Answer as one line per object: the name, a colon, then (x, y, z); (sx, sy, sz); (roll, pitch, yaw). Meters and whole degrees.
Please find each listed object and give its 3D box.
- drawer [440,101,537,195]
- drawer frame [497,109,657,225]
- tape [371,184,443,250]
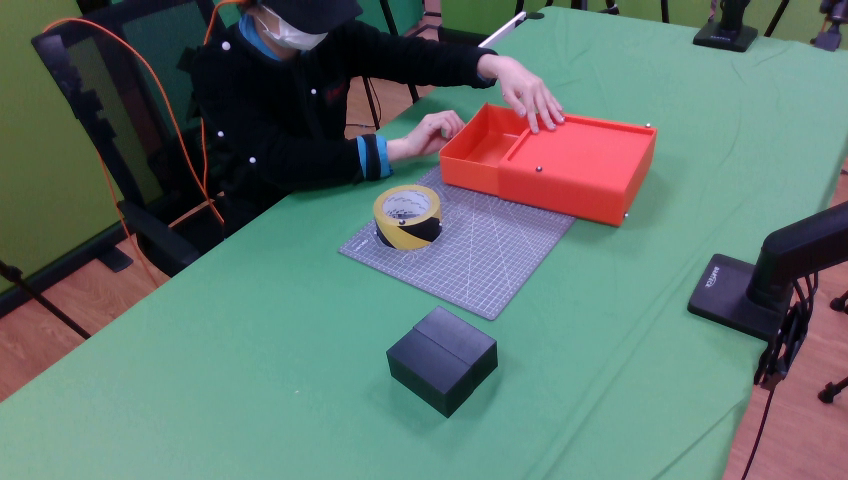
drawer: (0.165, -0.159, 1.082); (0.210, 0.073, 0.195); (18, 46, 25)
drawer frame: (0.261, -0.132, 1.033); (0.212, 0.083, 0.202); (16, 45, 24)
tape: (-0.028, -0.039, 0.990); (0.117, 0.053, 0.116); (-4, 40, 4)
